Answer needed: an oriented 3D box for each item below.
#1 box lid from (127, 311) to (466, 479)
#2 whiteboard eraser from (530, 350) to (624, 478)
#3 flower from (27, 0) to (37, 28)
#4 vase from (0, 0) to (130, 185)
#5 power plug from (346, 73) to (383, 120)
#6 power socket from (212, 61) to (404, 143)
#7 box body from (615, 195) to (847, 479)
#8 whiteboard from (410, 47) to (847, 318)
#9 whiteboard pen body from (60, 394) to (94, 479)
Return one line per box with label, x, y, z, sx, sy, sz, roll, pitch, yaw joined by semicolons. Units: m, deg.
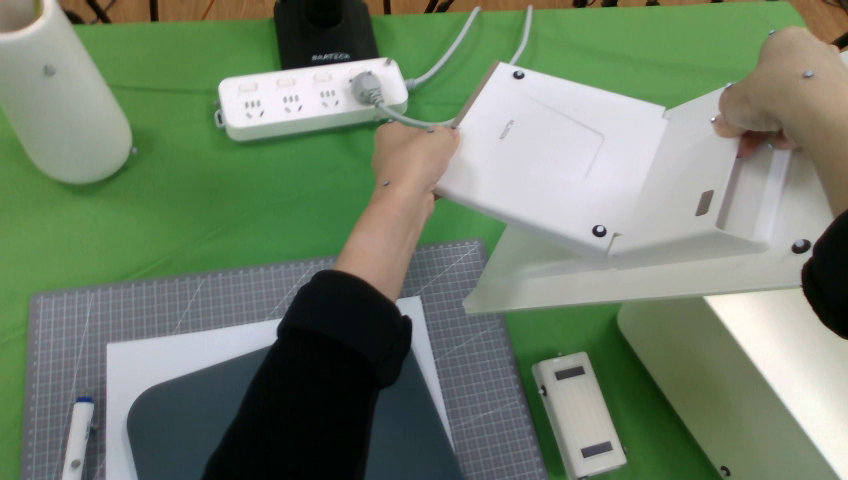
box lid;-0.082;0.255;0.518;0.264;0.015;0.368;-18;69;-18
whiteboard eraser;0.146;0.167;0.588;0.056;0.042;0.111;-9;66;-16
flower;-0.314;-0.167;0.489;0.038;0.362;0.044;41;54;-8
vase;-0.347;-0.135;0.560;0.098;0.201;0.097;4;63;-7
power plug;-0.070;-0.157;0.690;0.035;0.053;0.072;-3;70;-12
power socket;-0.130;-0.163;0.707;0.227;0.033;0.071;-12;67;-16
box body;0.393;0.137;0.579;0.254;0.161;0.361;-25;71;-21
whiteboard;0.131;-0.078;0.464;0.145;0.304;0.216;45;57;-22
whiteboard pen body;-0.291;0.198;0.499;0.017;0.017;0.139;0;66;-10
